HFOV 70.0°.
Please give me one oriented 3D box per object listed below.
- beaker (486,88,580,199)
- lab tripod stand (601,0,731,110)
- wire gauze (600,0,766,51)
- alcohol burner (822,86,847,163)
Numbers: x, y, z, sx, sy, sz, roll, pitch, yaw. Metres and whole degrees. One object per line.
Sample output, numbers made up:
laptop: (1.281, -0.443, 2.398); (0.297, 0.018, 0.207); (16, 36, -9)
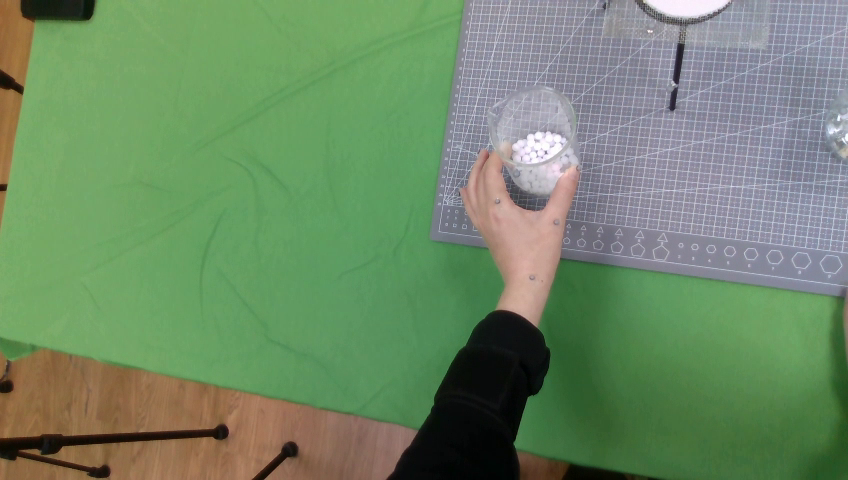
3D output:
beaker: (0.103, -0.085, 0.559); (0.083, 0.101, 0.074); (26, 86, 22)
lab tripod stand: (0.225, -0.206, 0.542); (0.148, 0.132, 0.148); (-1, 86, 14)
wire gauze: (0.207, -0.212, 0.477); (0.124, 0.011, 0.121); (7, 90, 16)
alcohol burner: (0.381, -0.102, 0.501); (0.077, 0.119, 0.078); (-1, 86, 14)
